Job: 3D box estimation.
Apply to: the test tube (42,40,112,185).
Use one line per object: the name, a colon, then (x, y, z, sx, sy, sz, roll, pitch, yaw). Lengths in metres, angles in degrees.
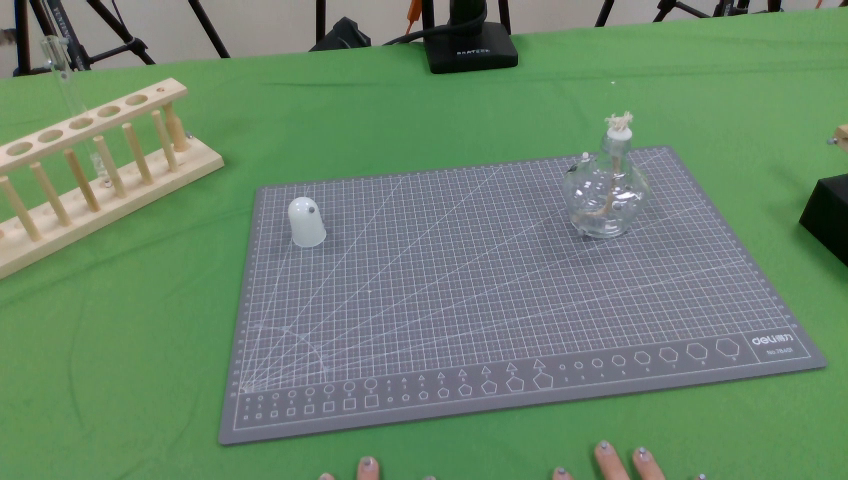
test tube: (-0.333, -0.119, 0.588, 0.017, 0.151, 0.017, -1, 39, 1)

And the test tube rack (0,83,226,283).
test tube rack: (-0.330, -0.064, 0.602, 0.066, 0.086, 0.242, 33, 53, 33)

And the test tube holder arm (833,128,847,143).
test tube holder arm: (0.406, -0.075, 0.543, 0.015, 0.010, 0.087, -10, 42, -9)

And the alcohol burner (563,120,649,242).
alcohol burner: (0.165, -0.057, 0.542, 0.078, 0.120, 0.077, -1, 45, 1)

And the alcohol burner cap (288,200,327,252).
alcohol burner cap: (-0.110, -0.016, 0.566, 0.034, 0.048, 0.033, -1, 43, 2)

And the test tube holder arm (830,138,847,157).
test tube holder arm: (0.417, -0.042, 0.514, 0.015, 0.013, 0.176, -10, 42, -9)
